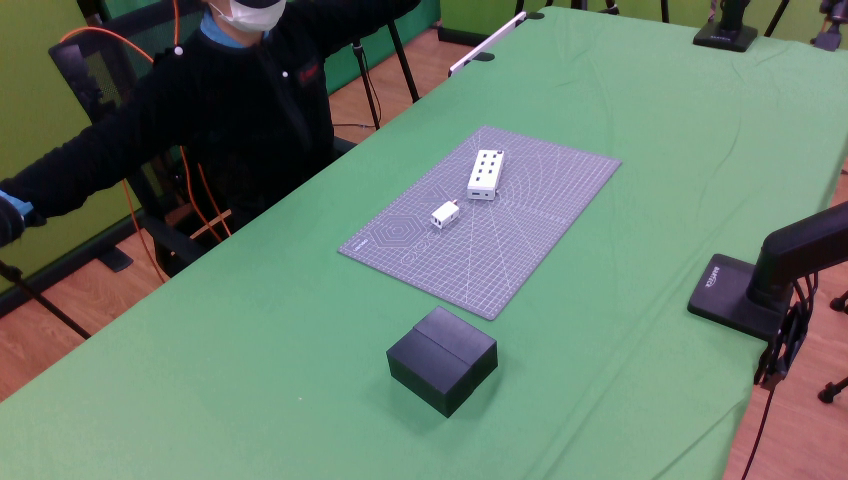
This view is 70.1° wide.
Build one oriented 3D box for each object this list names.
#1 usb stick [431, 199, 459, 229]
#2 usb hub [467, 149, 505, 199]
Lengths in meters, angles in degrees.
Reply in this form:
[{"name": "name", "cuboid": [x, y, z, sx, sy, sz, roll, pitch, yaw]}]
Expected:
[{"name": "usb stick", "cuboid": [0.039, -0.046, 1.009, 0.027, 0.021, 0.059, 34, 56, 24]}, {"name": "usb hub", "cuboid": [0.113, -0.119, 1.084, 0.049, 0.025, 0.125, 6, 42, 14]}]
